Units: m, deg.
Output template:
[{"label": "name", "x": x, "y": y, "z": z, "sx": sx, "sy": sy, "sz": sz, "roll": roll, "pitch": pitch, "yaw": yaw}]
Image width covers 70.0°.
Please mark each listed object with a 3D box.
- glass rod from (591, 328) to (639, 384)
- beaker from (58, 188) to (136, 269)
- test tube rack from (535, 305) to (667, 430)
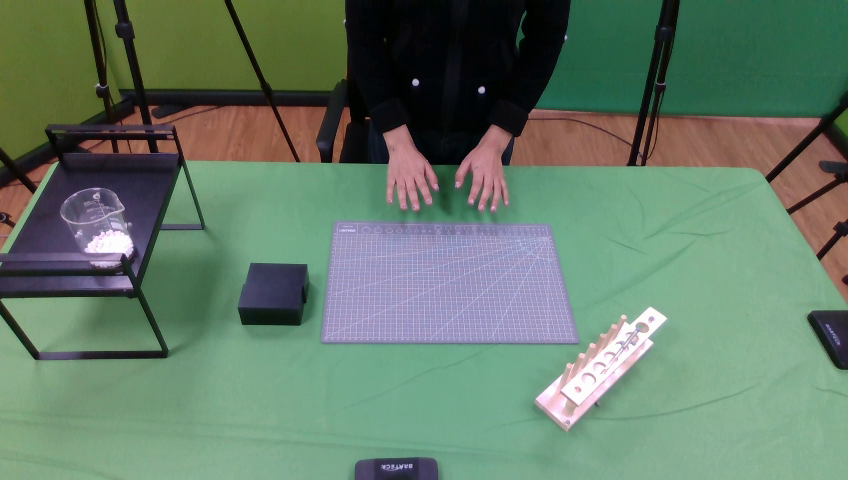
[{"label": "glass rod", "x": 0.279, "y": 0.182, "z": 0.902, "sx": 0.008, "sy": 0.200, "sz": 0.008, "roll": 4, "pitch": 52, "yaw": -5}, {"label": "beaker", "x": -0.462, "y": -0.014, "z": 0.871, "sx": 0.084, "sy": 0.101, "sz": 0.073, "roll": -1, "pitch": 47, "yaw": -5}, {"label": "test tube rack", "x": 0.290, "y": 0.193, "z": 0.984, "sx": 0.242, "sy": 0.085, "sz": 0.066, "roll": -32, "pitch": 57, "yaw": -30}]
